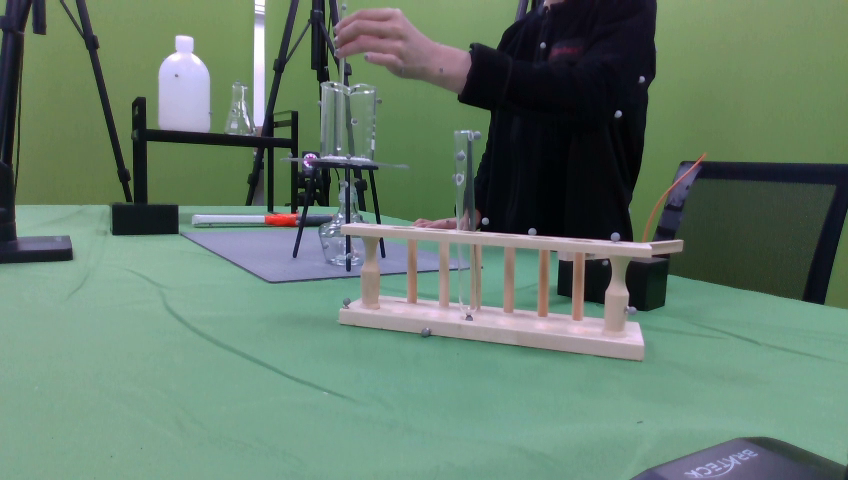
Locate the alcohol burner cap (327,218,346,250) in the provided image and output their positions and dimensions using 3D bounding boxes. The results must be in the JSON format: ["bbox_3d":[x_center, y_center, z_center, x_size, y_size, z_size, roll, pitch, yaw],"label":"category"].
[{"bbox_3d":[-0.132,-0.010,0.927,0.034,0.048,0.034,3,8,0],"label":"alcohol burner cap"}]

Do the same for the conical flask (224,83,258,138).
[{"bbox_3d":[-0.422,-0.299,1.395,0.075,0.122,0.075,2,7,0],"label":"conical flask"}]

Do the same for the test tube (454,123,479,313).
[{"bbox_3d":[0.033,-0.016,0.476,0.017,0.150,0.017,-2,9,1],"label":"test tube"}]

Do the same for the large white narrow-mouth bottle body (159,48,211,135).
[{"bbox_3d":[-0.503,-0.322,1.275,0.102,0.194,0.102,2,7,0],"label":"large white narrow-mouth bottle body"}]

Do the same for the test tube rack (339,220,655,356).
[{"bbox_3d":[0.056,0.032,0.495,0.242,0.085,0.067,4,7,15],"label":"test tube rack"}]

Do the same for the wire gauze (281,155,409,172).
[{"bbox_3d":[-0.104,-0.103,0.785,0.126,0.011,0.121,1,8,-39],"label":"wire gauze"}]

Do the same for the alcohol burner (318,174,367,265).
[{"bbox_3d":[-0.100,-0.028,0.790,0.078,0.119,0.078,0,6,0],"label":"alcohol burner"}]

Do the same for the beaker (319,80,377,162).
[{"bbox_3d":[-0.098,-0.150,0.777,0.074,0.100,0.084,1,7,-7],"label":"beaker"}]

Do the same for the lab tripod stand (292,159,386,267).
[{"bbox_3d":[-0.105,-0.039,0.797,0.148,0.131,0.148,2,5,0],"label":"lab tripod stand"}]

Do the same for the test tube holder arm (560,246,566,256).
[{"bbox_3d":[0.173,0.007,0.611,0.088,0.015,0.010,-3,10,-29],"label":"test tube holder arm"}]

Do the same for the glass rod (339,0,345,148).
[{"bbox_3d":[-0.102,-0.214,0.750,0.008,0.199,0.008,2,14,0],"label":"glass rod"}]

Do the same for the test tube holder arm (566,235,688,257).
[{"bbox_3d":[0.215,0.006,0.629,0.179,0.015,0.013,-3,10,-30],"label":"test tube holder arm"}]

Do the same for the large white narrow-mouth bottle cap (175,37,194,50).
[{"bbox_3d":[-0.501,-0.410,1.264,0.038,0.024,0.037,2,7,0],"label":"large white narrow-mouth bottle cap"}]

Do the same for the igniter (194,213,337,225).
[{"bbox_3d":[-0.306,-0.042,1.196,0.278,0.025,0.057,-2,-2,-31],"label":"igniter"}]
